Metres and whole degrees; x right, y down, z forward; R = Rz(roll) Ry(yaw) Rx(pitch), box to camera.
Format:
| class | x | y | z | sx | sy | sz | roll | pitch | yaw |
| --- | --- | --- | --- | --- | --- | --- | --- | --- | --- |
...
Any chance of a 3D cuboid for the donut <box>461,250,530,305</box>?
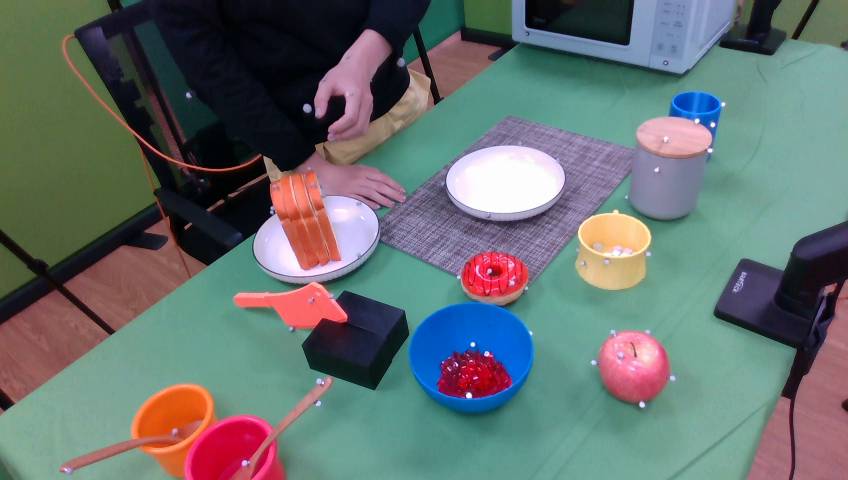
| class | x | y | z | sx | sy | sz | roll | pitch | yaw |
| --- | --- | --- | --- | --- | --- | --- | --- | --- | --- |
| donut | 0.103 | 0.053 | 0.872 | 0.099 | 0.048 | 0.098 | -5 | 40 | 4 |

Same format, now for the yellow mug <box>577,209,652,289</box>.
| class | x | y | z | sx | sy | sz | roll | pitch | yaw |
| --- | --- | --- | --- | --- | --- | --- | --- | --- | --- |
| yellow mug | 0.279 | 0.004 | 0.893 | 0.099 | 0.064 | 0.130 | 5 | 41 | 15 |

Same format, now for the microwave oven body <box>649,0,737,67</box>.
| class | x | y | z | sx | sy | sz | roll | pitch | yaw |
| --- | --- | --- | --- | --- | --- | --- | --- | --- | --- |
| microwave oven body | 0.475 | -0.602 | 1.411 | 0.438 | 0.261 | 0.327 | 23 | 50 | 32 |

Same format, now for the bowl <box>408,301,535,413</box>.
| class | x | y | z | sx | sy | sz | roll | pitch | yaw |
| --- | --- | --- | --- | --- | --- | --- | --- | --- | --- |
| bowl | 0.060 | 0.156 | 0.739 | 0.151 | 0.077 | 0.150 | -4 | 40 | 4 |

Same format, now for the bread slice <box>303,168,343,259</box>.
| class | x | y | z | sx | sy | sz | roll | pitch | yaw |
| --- | --- | --- | --- | --- | --- | --- | --- | --- | --- |
| bread slice | -0.160 | -0.046 | 0.952 | 0.018 | 0.135 | 0.106 | -18 | 45 | -6 |

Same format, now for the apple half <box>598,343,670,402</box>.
| class | x | y | z | sx | sy | sz | roll | pitch | yaw |
| --- | --- | --- | --- | --- | --- | --- | --- | --- | --- |
| apple half | 0.247 | 0.161 | 0.710 | 0.081 | 0.075 | 0.053 | 2 | 47 | 5 |

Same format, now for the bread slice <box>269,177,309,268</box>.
| class | x | y | z | sx | sy | sz | roll | pitch | yaw |
| --- | --- | --- | --- | --- | --- | --- | --- | --- | --- |
| bread slice | -0.211 | -0.034 | 0.946 | 0.019 | 0.132 | 0.104 | -18 | 39 | -3 |

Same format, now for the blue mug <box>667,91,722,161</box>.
| class | x | y | z | sx | sy | sz | roll | pitch | yaw |
| --- | --- | --- | --- | --- | --- | --- | --- | --- | --- |
| blue mug | 0.474 | -0.207 | 1.079 | 0.082 | 0.106 | 0.116 | 4 | 42 | 13 |

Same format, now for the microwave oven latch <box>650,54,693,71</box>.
| class | x | y | z | sx | sy | sz | roll | pitch | yaw |
| --- | --- | --- | --- | --- | --- | --- | --- | --- | --- |
| microwave oven latch | 0.531 | -0.386 | 1.301 | 0.078 | 0.029 | 0.030 | 26 | 51 | 33 |

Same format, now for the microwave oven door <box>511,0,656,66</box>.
| class | x | y | z | sx | sy | sz | roll | pitch | yaw |
| --- | --- | --- | --- | --- | --- | --- | --- | --- | --- |
| microwave oven door | 0.351 | -0.540 | 1.349 | 0.353 | 0.245 | 0.039 | 24 | 50 | 31 |

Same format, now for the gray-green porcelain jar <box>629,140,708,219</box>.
| class | x | y | z | sx | sy | sz | roll | pitch | yaw |
| --- | --- | --- | --- | --- | --- | --- | --- | --- | --- |
| gray-green porcelain jar | 0.383 | -0.105 | 0.958 | 0.106 | 0.127 | 0.105 | -4 | 41 | 4 |

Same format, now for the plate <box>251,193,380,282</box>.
| class | x | y | z | sx | sy | sz | roll | pitch | yaw |
| --- | --- | --- | --- | --- | --- | --- | --- | --- | --- |
| plate | -0.174 | -0.001 | 0.984 | 0.209 | 0.038 | 0.208 | -4 | 40 | 4 |

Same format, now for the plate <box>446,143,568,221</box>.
| class | x | y | z | sx | sy | sz | roll | pitch | yaw |
| --- | --- | --- | --- | --- | --- | --- | --- | --- | --- |
| plate | 0.142 | -0.096 | 1.045 | 0.207 | 0.039 | 0.206 | -4 | 40 | 4 |

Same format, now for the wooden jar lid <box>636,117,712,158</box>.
| class | x | y | z | sx | sy | sz | roll | pitch | yaw |
| --- | --- | --- | --- | --- | --- | --- | --- | --- | --- |
| wooden jar lid | 0.377 | -0.151 | 0.917 | 0.108 | 0.021 | 0.108 | -2 | 41 | 3 |

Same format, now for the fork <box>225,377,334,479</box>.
| class | x | y | z | sx | sy | sz | roll | pitch | yaw |
| --- | --- | --- | --- | --- | --- | --- | --- | --- | --- |
| fork | -0.163 | 0.216 | 0.646 | 0.207 | 0.019 | 0.028 | -49 | 42 | 16 |

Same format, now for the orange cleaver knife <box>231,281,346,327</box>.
| class | x | y | z | sx | sy | sz | roll | pitch | yaw |
| --- | --- | --- | --- | --- | --- | --- | --- | --- | --- |
| orange cleaver knife | -0.192 | 0.093 | 0.844 | 0.210 | 0.077 | 0.012 | -7 | 31 | 38 |

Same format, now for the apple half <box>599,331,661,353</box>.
| class | x | y | z | sx | sy | sz | roll | pitch | yaw |
| --- | --- | --- | --- | --- | --- | --- | --- | --- | --- |
| apple half | 0.249 | 0.134 | 0.738 | 0.081 | 0.081 | 0.032 | -2 | 46 | 7 |

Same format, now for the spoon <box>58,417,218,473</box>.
| class | x | y | z | sx | sy | sz | roll | pitch | yaw |
| --- | --- | --- | --- | --- | --- | --- | --- | --- | --- |
| spoon | -0.304 | 0.221 | 0.661 | 0.041 | 0.195 | 0.021 | 20 | 93 | 27 |
